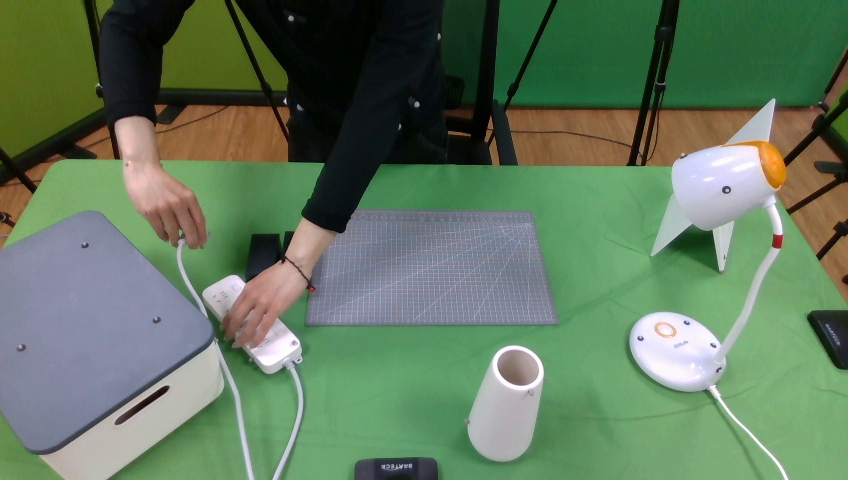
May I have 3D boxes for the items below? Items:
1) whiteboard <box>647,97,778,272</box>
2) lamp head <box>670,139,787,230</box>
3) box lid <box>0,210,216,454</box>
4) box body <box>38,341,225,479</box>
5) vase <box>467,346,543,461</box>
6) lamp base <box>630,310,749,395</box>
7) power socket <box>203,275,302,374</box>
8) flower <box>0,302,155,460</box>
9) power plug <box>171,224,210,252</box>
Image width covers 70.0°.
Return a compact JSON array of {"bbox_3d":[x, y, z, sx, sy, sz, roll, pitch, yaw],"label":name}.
[{"bbox_3d":[0.602,-0.079,1.162,0.144,0.306,0.216,35,51,2],"label":"whiteboard"},{"bbox_3d":[0.415,-0.079,0.812,0.113,0.123,0.112,12,70,-37],"label":"lamp head"},{"bbox_3d":[-0.504,0.102,0.863,0.369,0.015,0.263,35,53,26],"label":"box lid"},{"bbox_3d":[-0.506,0.155,0.916,0.362,0.161,0.254,35,54,26],"label":"box body"},{"bbox_3d":[0.116,0.234,0.861,0.098,0.201,0.097,1,47,-1],"label":"vase"},{"bbox_3d":[0.447,0.142,0.984,0.161,0.181,0.178,-24,55,-24],"label":"lamp base"},{"bbox_3d":[-0.296,0.140,1.035,0.072,0.033,0.225,-33,57,-30],"label":"power socket"},{"bbox_3d":[-0.553,0.222,0.944,0.361,0.038,0.044,39,62,6],"label":"flower"},{"bbox_3d":[-0.392,0.002,1.011,0.035,0.053,0.072,35,60,24],"label":"power plug"}]
